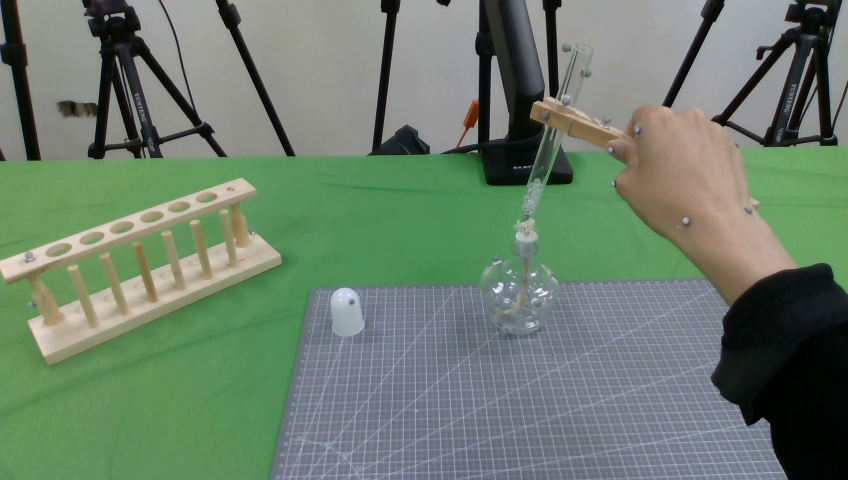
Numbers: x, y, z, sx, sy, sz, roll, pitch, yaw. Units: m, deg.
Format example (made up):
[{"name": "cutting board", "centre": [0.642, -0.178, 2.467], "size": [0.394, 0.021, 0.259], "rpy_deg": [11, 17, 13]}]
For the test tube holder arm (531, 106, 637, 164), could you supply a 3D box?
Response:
[{"name": "test tube holder arm", "centre": [0.121, -0.080, 0.459], "size": [0.087, 0.015, 0.010], "rpy_deg": [30, 45, 28]}]

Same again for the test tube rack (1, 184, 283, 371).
[{"name": "test tube rack", "centre": [-0.274, 0.029, 0.621], "size": [0.243, 0.086, 0.066], "rpy_deg": [-26, 41, -32]}]

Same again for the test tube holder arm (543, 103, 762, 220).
[{"name": "test tube holder arm", "centre": [0.157, -0.062, 0.439], "size": [0.013, 0.015, 0.176], "rpy_deg": [-29, 49, -34]}]

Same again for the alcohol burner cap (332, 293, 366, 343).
[{"name": "alcohol burner cap", "centre": [-0.074, 0.072, 0.587], "size": [0.034, 0.048, 0.033], "rpy_deg": [0, 35, 1]}]

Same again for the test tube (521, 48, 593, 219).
[{"name": "test tube", "centre": [0.104, -0.079, 0.484], "size": [0.017, 0.151, 0.017], "rpy_deg": [8, 38, -6]}]

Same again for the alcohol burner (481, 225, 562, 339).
[{"name": "alcohol burner", "centre": [0.094, 0.035, 0.574], "size": [0.078, 0.120, 0.077], "rpy_deg": [0, 36, 0]}]
